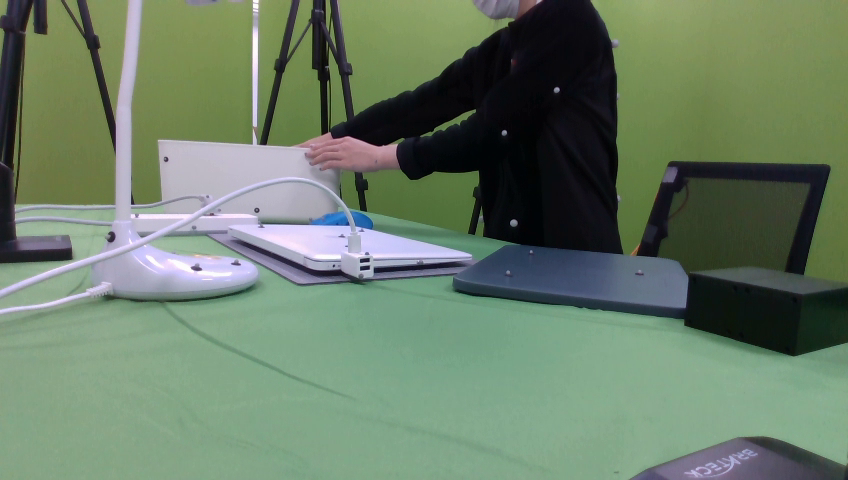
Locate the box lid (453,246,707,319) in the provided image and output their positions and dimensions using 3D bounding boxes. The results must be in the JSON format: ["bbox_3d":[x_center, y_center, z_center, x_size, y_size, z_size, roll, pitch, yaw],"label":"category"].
[{"bbox_3d":[0.204,0.044,0.780,0.262,0.015,0.372,5,7,17],"label":"box lid"}]

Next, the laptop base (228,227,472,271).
[{"bbox_3d":[-0.124,0.011,0.888,0.237,0.023,0.352,2,6,-35],"label":"laptop base"}]

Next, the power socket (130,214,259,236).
[{"bbox_3d":[-0.397,-0.028,1.048,0.228,0.032,0.072,-3,7,-35],"label":"power socket"}]

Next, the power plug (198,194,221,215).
[{"bbox_3d":[-0.386,-0.055,1.088,0.035,0.052,0.072,-2,7,-24],"label":"power plug"}]

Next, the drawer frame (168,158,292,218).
[{"bbox_3d":[-0.411,-0.117,1.314,0.214,0.083,0.201,-9,14,-4],"label":"drawer frame"}]

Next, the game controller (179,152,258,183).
[{"bbox_3d":[-0.445,-0.160,1.296,0.156,0.051,0.096,-14,13,-29],"label":"game controller"}]

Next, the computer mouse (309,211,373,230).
[{"bbox_3d":[-0.157,-0.033,1.139,0.118,0.041,0.062,-5,11,-28],"label":"computer mouse"}]

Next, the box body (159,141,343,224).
[{"bbox_3d":[-0.365,-0.128,1.337,0.365,0.160,0.253,2,7,-8],"label":"box body"}]

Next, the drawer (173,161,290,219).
[{"bbox_3d":[-0.408,-0.111,1.315,0.212,0.073,0.194,-10,16,-4],"label":"drawer"}]

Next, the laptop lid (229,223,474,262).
[{"bbox_3d":[-0.121,0.000,0.888,0.243,0.013,0.355,1,7,-33],"label":"laptop lid"}]

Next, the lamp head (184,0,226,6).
[{"bbox_3d":[-0.229,-0.320,0.627,0.112,0.112,0.123,6,-35,26],"label":"lamp head"}]

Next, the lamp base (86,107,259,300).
[{"bbox_3d":[-0.254,-0.039,0.603,0.160,0.180,0.179,5,10,18],"label":"lamp base"}]

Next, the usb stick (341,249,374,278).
[{"bbox_3d":[-0.079,0.026,0.686,0.021,0.027,0.059,-7,9,-31],"label":"usb stick"}]
